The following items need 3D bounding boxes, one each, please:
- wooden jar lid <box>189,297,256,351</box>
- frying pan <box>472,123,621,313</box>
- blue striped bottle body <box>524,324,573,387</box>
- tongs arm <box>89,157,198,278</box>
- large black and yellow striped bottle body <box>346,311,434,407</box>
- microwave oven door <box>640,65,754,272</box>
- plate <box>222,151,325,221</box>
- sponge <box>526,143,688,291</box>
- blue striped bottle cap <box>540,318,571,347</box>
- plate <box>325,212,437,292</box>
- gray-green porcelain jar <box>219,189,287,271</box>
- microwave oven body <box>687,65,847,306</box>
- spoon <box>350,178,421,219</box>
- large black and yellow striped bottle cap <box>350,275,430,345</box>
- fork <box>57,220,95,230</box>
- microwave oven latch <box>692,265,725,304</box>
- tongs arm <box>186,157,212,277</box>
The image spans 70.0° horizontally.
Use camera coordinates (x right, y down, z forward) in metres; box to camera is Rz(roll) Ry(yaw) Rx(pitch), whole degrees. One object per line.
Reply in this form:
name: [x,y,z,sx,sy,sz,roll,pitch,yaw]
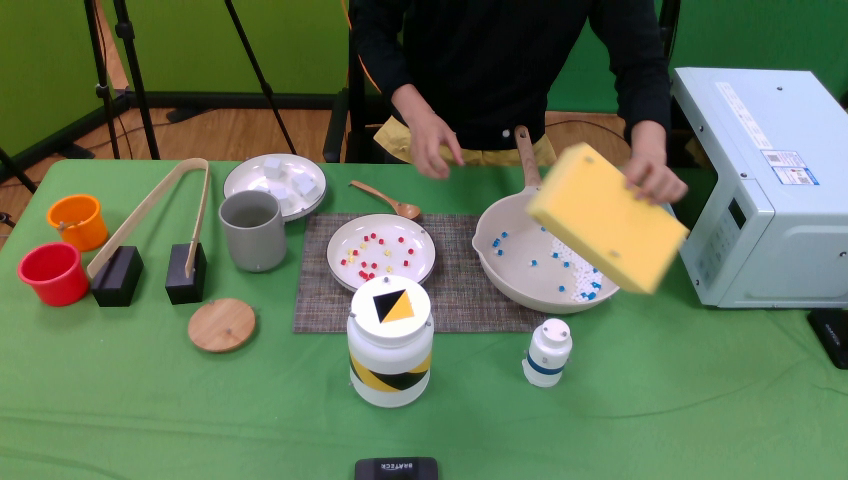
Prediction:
wooden jar lid: [-0.342,0.145,1.033,0.108,0.021,0.107,2,45,-2]
frying pan: [0.235,-0.061,1.208,0.307,0.103,0.484,1,54,-6]
blue striped bottle body: [0.200,0.178,0.970,0.063,0.121,0.062,2,46,-2]
tongs arm: [-0.529,-0.058,1.164,0.028,0.028,0.385,1,36,8]
large black and yellow striped bottle body: [-0.052,0.157,0.929,0.131,0.185,0.130,2,47,-2]
microwave oven door: [0.523,-0.147,1.193,0.039,0.245,0.353,0,47,-3]
plate: [-0.310,-0.106,1.262,0.208,0.039,0.206,2,47,-2]
sponge: [0.267,-0.031,0.885,0.207,0.061,0.118,36,81,-12]
blue striped bottle cap: [0.203,0.142,0.933,0.044,0.021,0.044,3,49,-3]
plate: [-0.080,0.030,1.143,0.209,0.038,0.208,2,46,-2]
gray-green porcelain jar: [-0.310,-0.014,1.113,0.106,0.127,0.105,2,46,-2]
microwave oven body: [0.669,-0.111,1.176,0.326,0.261,0.439,0,46,-3]
spoon: [-0.084,-0.093,1.273,0.193,0.022,0.041,31,72,25]
large black and yellow striped bottle cap: [-0.048,0.097,0.868,0.115,0.019,0.114,3,48,-3]
fork: [-0.624,-0.027,1.086,0.028,0.207,0.018,-3,92,-17]
microwave oven latch: [0.522,0.081,1.116,0.030,0.029,0.078,1,46,-2]
tongs arm: [-0.445,-0.058,1.168,0.051,0.026,0.382,-5,37,-6]
